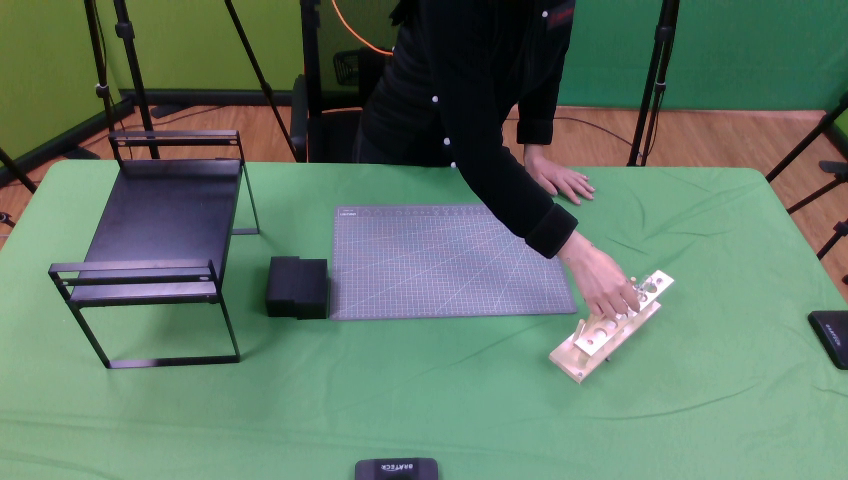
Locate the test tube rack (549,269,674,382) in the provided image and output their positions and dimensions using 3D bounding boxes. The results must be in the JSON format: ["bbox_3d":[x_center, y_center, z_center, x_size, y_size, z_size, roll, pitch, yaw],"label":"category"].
[{"bbox_3d":[0.325,0.135,1.047,0.242,0.085,0.066,-32,55,-30],"label":"test tube rack"}]

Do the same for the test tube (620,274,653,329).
[{"bbox_3d":[0.348,0.106,1.008,0.017,0.151,0.017,2,51,-2],"label":"test tube"}]
